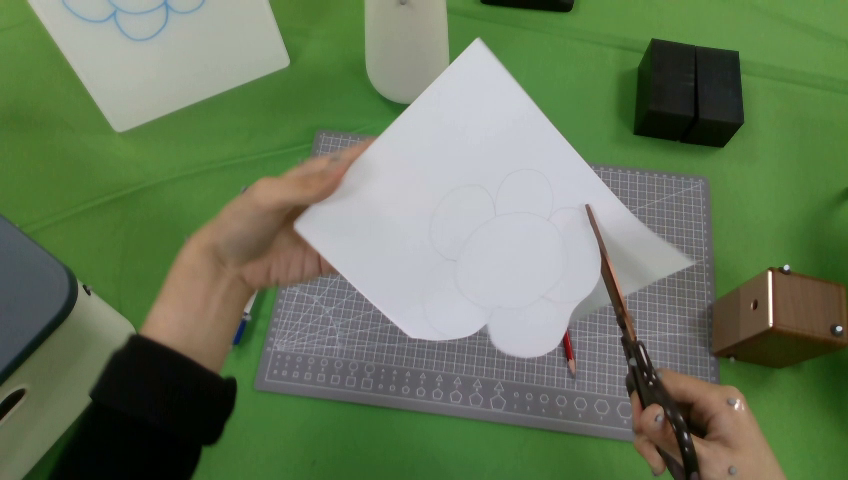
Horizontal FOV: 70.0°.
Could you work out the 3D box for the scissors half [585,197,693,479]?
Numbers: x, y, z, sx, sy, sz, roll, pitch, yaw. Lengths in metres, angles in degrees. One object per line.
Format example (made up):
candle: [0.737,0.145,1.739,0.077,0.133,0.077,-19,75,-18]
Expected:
scissors half: [0.125,0.057,0.357,0.013,0.040,0.174,-18,85,-1]

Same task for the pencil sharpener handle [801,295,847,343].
pencil sharpener handle: [0.380,0.078,0.558,0.030,0.068,0.035,11,61,1]

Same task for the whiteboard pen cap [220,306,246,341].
whiteboard pen cap: [-0.188,0.082,0.601,0.018,0.018,0.033,13,63,5]

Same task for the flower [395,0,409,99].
flower: [-0.028,-0.285,0.572,0.044,0.365,0.038,0,49,3]

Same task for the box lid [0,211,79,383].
box lid: [-0.480,0.032,0.459,0.370,0.015,0.262,33,70,12]

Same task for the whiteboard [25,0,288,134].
whiteboard: [-0.310,-0.310,0.641,0.217,0.308,0.142,-25,51,-11]

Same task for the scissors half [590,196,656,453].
scissors half: [0.125,0.055,0.378,0.013,0.040,0.176,-17,106,4]

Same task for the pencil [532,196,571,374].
pencil: [0.133,0.043,0.630,0.012,0.012,0.192,-6,69,-3]

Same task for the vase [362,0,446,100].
vase: [-0.023,-0.240,0.643,0.098,0.201,0.097,0,66,0]

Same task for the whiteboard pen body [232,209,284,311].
whiteboard pen body: [-0.174,0.030,0.625,0.017,0.017,0.140,14,66,5]

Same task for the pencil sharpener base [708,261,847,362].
pencil sharpener base: [0.329,0.071,0.570,0.077,0.107,0.061,11,67,0]

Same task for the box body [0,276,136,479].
box body: [-0.479,0.063,0.527,0.362,0.161,0.253,33,71,12]
